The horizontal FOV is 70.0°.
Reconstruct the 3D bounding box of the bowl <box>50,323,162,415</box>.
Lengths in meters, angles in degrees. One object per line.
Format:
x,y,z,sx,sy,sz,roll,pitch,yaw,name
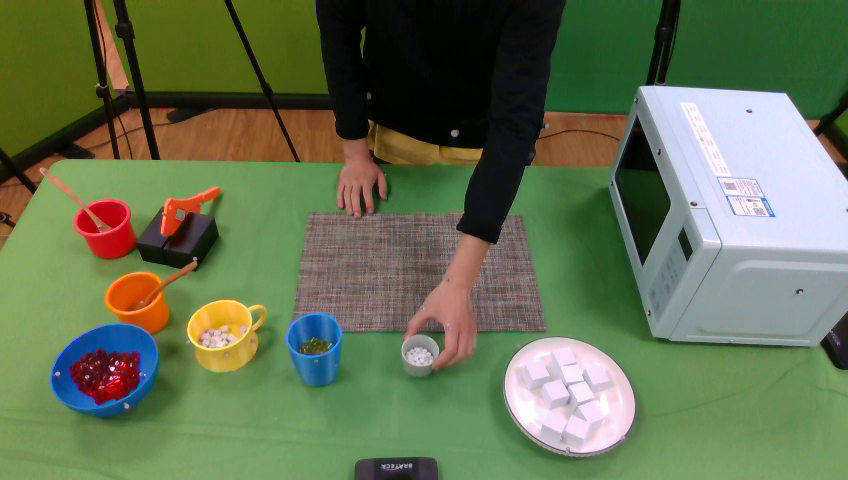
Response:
-0.472,0.209,0.924,0.151,0.077,0.150,3,45,-2,bowl

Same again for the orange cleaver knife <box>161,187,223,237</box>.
-0.448,-0.058,1.181,0.012,0.077,0.211,13,17,6,orange cleaver knife

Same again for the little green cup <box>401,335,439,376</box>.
-0.008,0.188,0.977,0.061,0.039,0.061,4,50,-4,little green cup

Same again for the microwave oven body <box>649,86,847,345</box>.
0.568,-0.053,1.118,0.326,0.261,0.439,2,45,-1,microwave oven body

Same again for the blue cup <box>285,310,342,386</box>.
-0.170,0.179,0.958,0.093,0.101,0.092,1,44,-1,blue cup

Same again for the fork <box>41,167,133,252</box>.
-0.624,-0.056,1.121,0.208,0.018,0.028,49,51,-15,fork

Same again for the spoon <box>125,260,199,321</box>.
-0.434,0.083,0.999,0.022,0.194,0.041,34,34,-35,spoon

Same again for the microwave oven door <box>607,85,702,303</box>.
0.423,-0.094,1.141,0.039,0.245,0.353,2,46,-1,microwave oven door

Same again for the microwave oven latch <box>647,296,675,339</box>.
0.413,0.134,1.061,0.030,0.029,0.078,5,45,2,microwave oven latch

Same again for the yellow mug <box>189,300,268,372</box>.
-0.315,0.149,1.002,0.131,0.064,0.099,-32,55,-31,yellow mug

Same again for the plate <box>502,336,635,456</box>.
0.225,0.248,0.963,0.208,0.039,0.206,2,46,-2,plate
